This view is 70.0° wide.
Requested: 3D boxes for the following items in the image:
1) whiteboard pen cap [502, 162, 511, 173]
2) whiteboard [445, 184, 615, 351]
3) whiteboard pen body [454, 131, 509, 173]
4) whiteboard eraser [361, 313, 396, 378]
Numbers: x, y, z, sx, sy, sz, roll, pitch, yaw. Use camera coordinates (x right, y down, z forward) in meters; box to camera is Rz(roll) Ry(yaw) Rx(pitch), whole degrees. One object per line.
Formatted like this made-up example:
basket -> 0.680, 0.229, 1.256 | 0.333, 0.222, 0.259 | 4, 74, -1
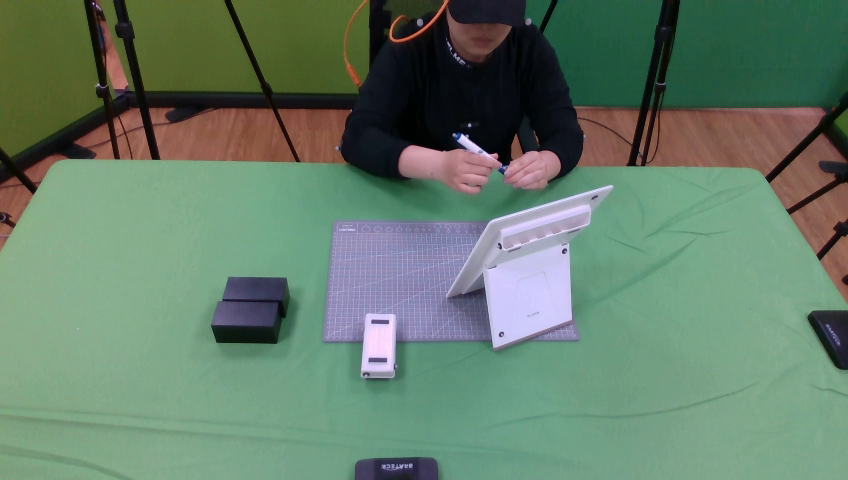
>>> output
whiteboard pen cap -> 0.160, -0.139, 1.175 | 0.018, 0.033, 0.018 | -2, 83, 14
whiteboard -> 0.187, 0.065, 0.989 | 0.217, 0.306, 0.143 | -15, 68, -18
whiteboard pen body -> 0.111, -0.163, 1.144 | 0.141, 0.017, 0.017 | 31, 38, -29
whiteboard eraser -> -0.075, 0.176, 1.006 | 0.055, 0.042, 0.112 | 3, 50, -4
